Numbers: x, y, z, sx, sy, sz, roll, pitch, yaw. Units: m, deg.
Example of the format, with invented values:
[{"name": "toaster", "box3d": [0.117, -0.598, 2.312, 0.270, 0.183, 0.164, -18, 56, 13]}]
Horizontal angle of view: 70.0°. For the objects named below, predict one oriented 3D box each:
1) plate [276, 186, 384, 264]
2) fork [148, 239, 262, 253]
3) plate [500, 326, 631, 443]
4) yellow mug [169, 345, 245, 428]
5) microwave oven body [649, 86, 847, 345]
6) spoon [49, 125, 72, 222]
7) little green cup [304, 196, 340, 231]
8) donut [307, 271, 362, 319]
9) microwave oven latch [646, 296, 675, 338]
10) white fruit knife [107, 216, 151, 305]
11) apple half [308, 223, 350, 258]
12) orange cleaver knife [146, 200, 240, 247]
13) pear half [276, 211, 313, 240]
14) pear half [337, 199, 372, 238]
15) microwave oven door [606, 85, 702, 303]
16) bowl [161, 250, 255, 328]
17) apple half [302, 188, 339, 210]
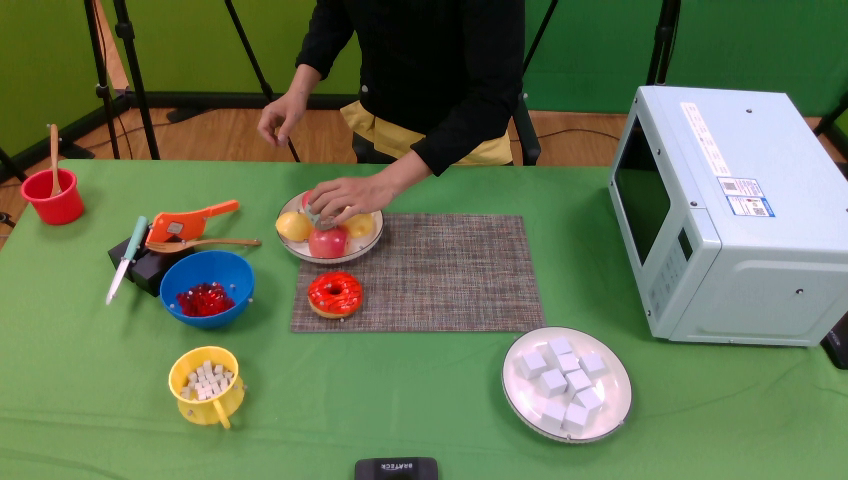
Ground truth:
[{"name": "plate", "box3d": [-0.184, -0.027, 1.195, 0.209, 0.038, 0.208, 2, 46, -2]}, {"name": "fork", "box3d": [-0.398, 0.008, 1.117, 0.208, 0.019, 0.028, -5, 34, -37]}, {"name": "plate", "box3d": [0.224, 0.234, 0.978, 0.208, 0.039, 0.206, 2, 46, -2]}, {"name": "yellow mug", "box3d": [-0.322, 0.230, 0.922, 0.100, 0.064, 0.130, -24, 53, -25]}, {"name": "microwave oven body", "box3d": [0.568, -0.053, 1.118, 0.326, 0.261, 0.439, 2, 45, -1]}, {"name": "spoon", "box3d": [-0.717, -0.132, 1.188, 0.042, 0.021, 0.193, -3, 90, -8]}, {"name": "little green cup", "box3d": [-0.184, -0.047, 1.108, 0.061, 0.062, 0.038, -21, 64, -22]}, {"name": "donut", "box3d": [-0.157, 0.097, 1.073, 0.099, 0.048, 0.098, 4, 45, -4]}, {"name": "microwave oven latch", "box3d": [0.412, 0.134, 1.061, 0.030, 0.029, 0.078, 4, 45, 1]}, {"name": "white fruit knife", "box3d": [-0.518, 0.032, 1.066, 0.027, 0.016, 0.206, -19, 45, 19]}, {"name": "apple half", "box3d": [-0.180, -0.005, 1.150, 0.074, 0.053, 0.080, 14, 43, 8]}, {"name": "orange cleaver knife", "box3d": [-0.435, -0.033, 1.157, 0.012, 0.077, 0.211, 31, 26, 19]}, {"name": "pear half", "box3d": [-0.245, -0.036, 1.179, 0.070, 0.031, 0.088, 41, 40, 1]}, {"name": "pear half", "box3d": [-0.147, -0.060, 1.210, 0.076, 0.056, 0.109, -16, 45, -25]}, {"name": "microwave oven door", "box3d": [0.423, -0.094, 1.140, 0.039, 0.245, 0.353, 2, 46, -1]}, {"name": "bowl", "box3d": [-0.362, 0.097, 1.040, 0.151, 0.077, 0.150, 2, 45, -2]}, {"name": "apple half", "box3d": [-0.204, -0.077, 1.216, 0.081, 0.033, 0.081, 19, 45, -20]}]
